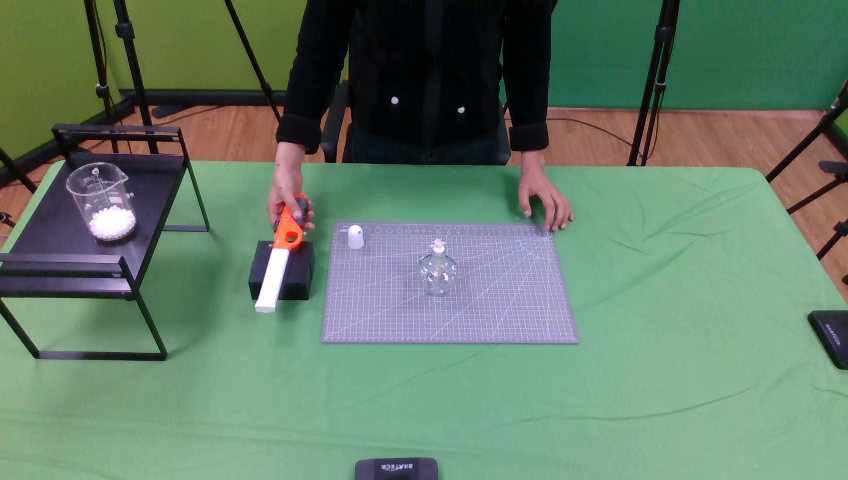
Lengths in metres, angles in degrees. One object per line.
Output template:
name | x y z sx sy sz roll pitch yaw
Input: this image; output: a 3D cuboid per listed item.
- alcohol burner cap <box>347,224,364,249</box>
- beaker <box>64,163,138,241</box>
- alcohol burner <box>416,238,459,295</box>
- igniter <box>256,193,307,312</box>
alcohol burner cap | -0.134 -0.010 1.177 0.034 0.048 0.033 2 47 -2
beaker | -0.477 -0.055 0.910 0.084 0.101 0.073 -9 48 -13
alcohol burner | 0.024 0.042 1.088 0.078 0.120 0.077 1 46 -1
igniter | -0.255 0.012 1.095 0.057 0.025 0.275 5 48 -1
